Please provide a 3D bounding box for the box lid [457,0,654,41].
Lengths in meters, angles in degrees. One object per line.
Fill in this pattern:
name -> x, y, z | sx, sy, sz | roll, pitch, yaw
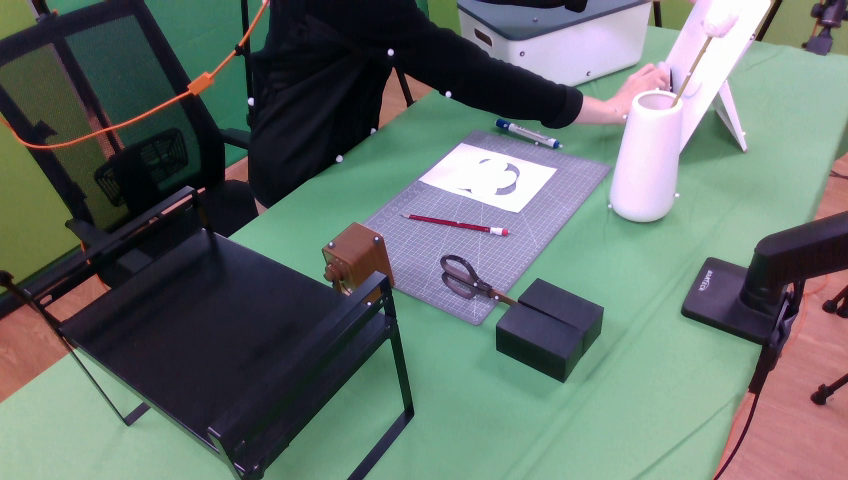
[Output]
box lid -> 0.285, -0.522, 1.323 | 0.373, 0.015, 0.261 | -22, 43, -16

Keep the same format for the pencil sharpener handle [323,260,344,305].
pencil sharpener handle -> -0.131, 0.062, 0.839 | 0.035, 0.068, 0.031 | 29, 55, 28

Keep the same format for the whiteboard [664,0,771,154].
whiteboard -> 0.543, -0.298, 1.076 | 0.144, 0.305, 0.216 | 12, 40, -7

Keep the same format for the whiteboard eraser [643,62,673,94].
whiteboard eraser -> 0.439, -0.272, 1.134 | 0.042, 0.055, 0.112 | 14, 67, -14

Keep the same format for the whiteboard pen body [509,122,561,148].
whiteboard pen body -> 0.209, -0.212, 1.195 | 0.139, 0.017, 0.017 | 31, 53, 32

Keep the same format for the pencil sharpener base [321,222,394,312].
pencil sharpener base -> -0.096, 0.041, 0.873 | 0.061, 0.107, 0.077 | 26, 54, 32

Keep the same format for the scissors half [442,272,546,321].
scissors half -> 0.094, 0.081, 0.838 | 0.173, 0.040, 0.013 | 19, 45, 39

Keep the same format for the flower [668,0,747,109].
flower -> 0.355, -0.187, 0.879 | 0.038, 0.362, 0.044 | 31, 48, 15

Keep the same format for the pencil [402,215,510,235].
pencil -> 0.049, -0.027, 1.007 | 0.193, 0.012, 0.012 | 10, 43, 22

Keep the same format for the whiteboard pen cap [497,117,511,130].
whiteboard pen cap -> 0.165, -0.235, 1.227 | 0.033, 0.018, 0.018 | 34, 55, 30

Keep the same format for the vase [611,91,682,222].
vase -> 0.348, -0.125, 0.935 | 0.098, 0.201, 0.097 | -3, 40, 3

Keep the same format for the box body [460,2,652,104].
box body -> 0.291, -0.465, 1.371 | 0.365, 0.161, 0.252 | -22, 42, -16

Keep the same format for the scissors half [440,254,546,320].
scissors half -> 0.092, 0.065, 0.825 | 0.174, 0.040, 0.013 | 31, 57, 25
